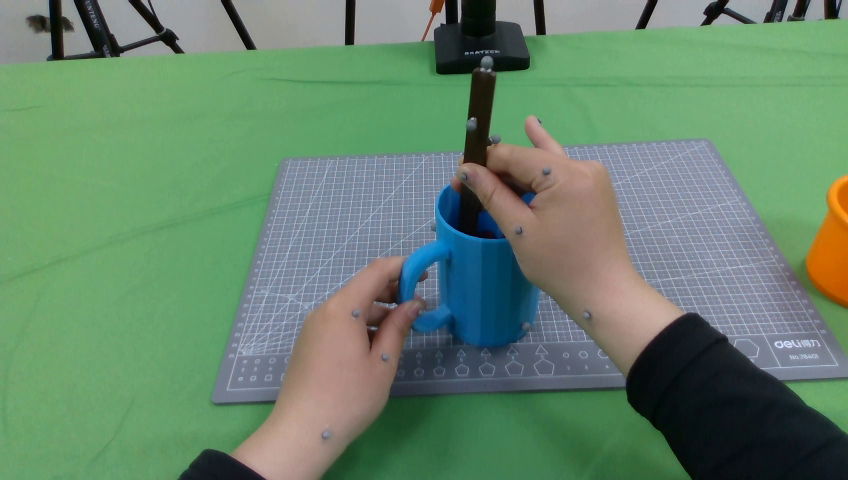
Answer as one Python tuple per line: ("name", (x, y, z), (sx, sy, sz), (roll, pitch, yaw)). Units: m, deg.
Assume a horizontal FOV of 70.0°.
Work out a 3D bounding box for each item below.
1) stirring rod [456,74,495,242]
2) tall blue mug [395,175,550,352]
("stirring rod", (0.030, -0.029, 0.387), (0.014, 0.177, 0.006), (14, 50, 10))
("tall blue mug", (0.038, 0.027, 0.429), (0.077, 0.109, 0.107), (21, 47, 23))
